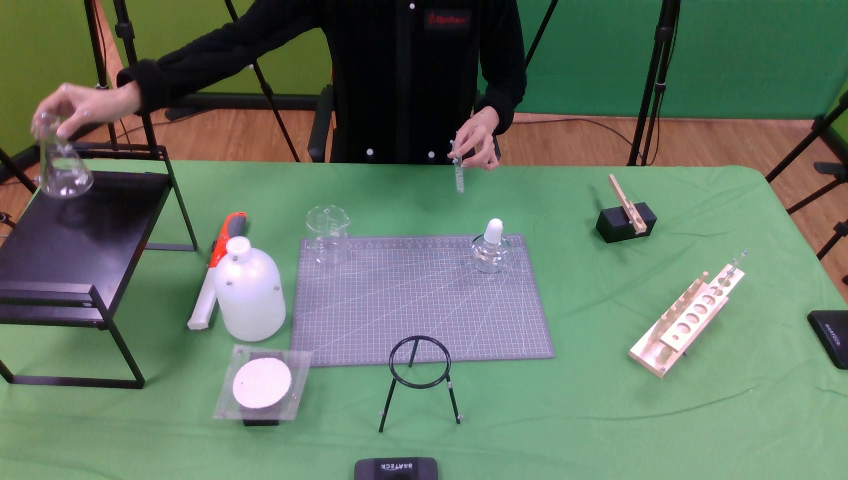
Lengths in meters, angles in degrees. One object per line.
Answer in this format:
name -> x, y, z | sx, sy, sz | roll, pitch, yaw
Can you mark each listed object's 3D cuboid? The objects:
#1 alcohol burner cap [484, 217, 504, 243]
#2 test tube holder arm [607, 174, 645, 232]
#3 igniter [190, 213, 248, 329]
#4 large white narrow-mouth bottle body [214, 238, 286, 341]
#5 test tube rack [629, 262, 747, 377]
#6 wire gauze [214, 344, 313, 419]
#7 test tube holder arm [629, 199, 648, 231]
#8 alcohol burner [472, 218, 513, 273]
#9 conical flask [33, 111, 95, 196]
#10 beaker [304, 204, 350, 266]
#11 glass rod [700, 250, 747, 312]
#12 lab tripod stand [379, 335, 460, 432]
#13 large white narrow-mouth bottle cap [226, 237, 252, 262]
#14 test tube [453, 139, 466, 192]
alcohol burner cap -> 0.131, -0.021, 1.107 | 0.034, 0.048, 0.033 | 5, 46, -5
test tube holder arm -> 0.411, -0.080, 1.238 | 0.013, 0.015, 0.177 | 1, 41, -13
igniter -> -0.376, 0.047, 1.121 | 0.057, 0.025, 0.275 | -4, 46, 6
large white narrow-mouth bottle body -> -0.285, 0.073, 0.986 | 0.102, 0.195, 0.101 | 2, 46, -2
test tube rack -> 0.464, 0.126, 1.061 | 0.242, 0.085, 0.066 | -34, 56, -30
wire gauze -> -0.241, 0.213, 0.915 | 0.121, 0.011, 0.124 | 5, 46, 1
test tube holder arm -> 0.423, -0.050, 1.206 | 0.010, 0.015, 0.087 | 1, 41, -12
alcohol burner -> 0.128, 0.005, 1.132 | 0.078, 0.120, 0.077 | 0, 47, 0
conical flask -> -0.553, -0.133, 0.918 | 0.075, 0.122, 0.075 | 5, 43, -5
beaker -> -0.178, -0.006, 1.132 | 0.084, 0.101, 0.073 | 4, 46, -1
glass rod -> 0.500, 0.075, 1.021 | 0.008, 0.201, 0.008 | 0, 55, 1
lab tripod stand -> -0.010, 0.214, 0.911 | 0.148, 0.132, 0.147 | 1, 45, 0
large white narrow-mouth bottle cap -> -0.282, 0.014, 0.923 | 0.038, 0.024, 0.037 | 2, 46, -2
test tube -> 0.066, -0.135, 1.123 | 0.017, 0.151, 0.017 | -3, 60, 6
